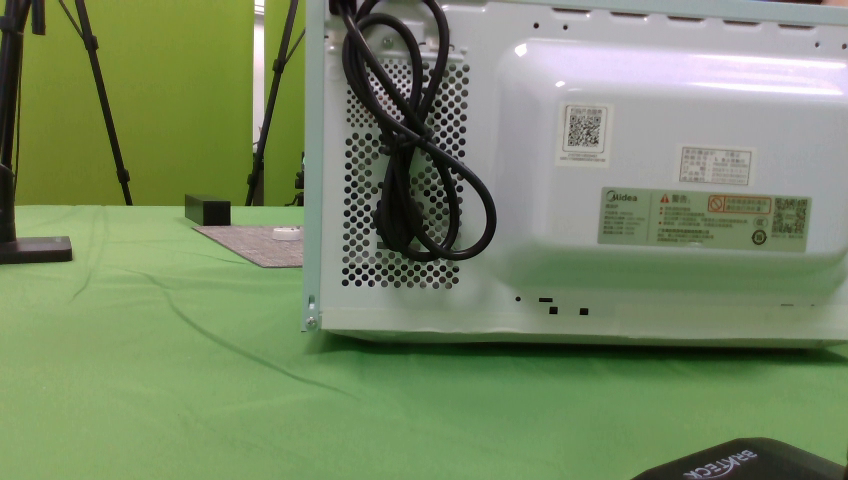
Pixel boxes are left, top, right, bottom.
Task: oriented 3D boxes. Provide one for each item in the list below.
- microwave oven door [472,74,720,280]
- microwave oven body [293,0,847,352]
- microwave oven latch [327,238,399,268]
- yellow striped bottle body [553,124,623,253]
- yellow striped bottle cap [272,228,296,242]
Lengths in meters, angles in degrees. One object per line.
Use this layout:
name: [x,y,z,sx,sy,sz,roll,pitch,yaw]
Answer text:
microwave oven door: [0.211,-0.092,0.834,0.039,0.243,0.354,-5,10,-42]
microwave oven body: [0.122,-0.055,0.551,0.442,0.260,0.325,3,7,-5]
microwave oven latch: [-0.069,0.015,0.694,0.079,0.029,0.030,3,7,-3]
yellow striped bottle body: [0.158,-0.050,0.583,0.063,0.120,0.063,1,4,0]
yellow striped bottle cap: [-0.232,-0.008,1.012,0.044,0.018,0.044,4,9,0]
